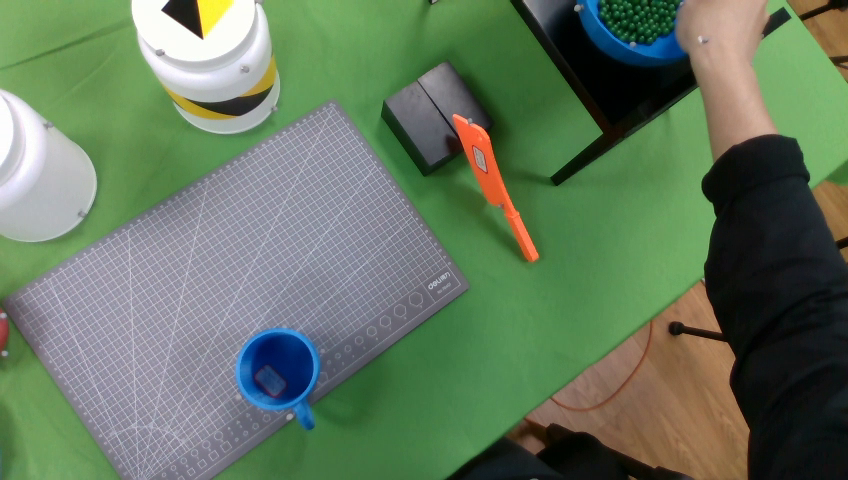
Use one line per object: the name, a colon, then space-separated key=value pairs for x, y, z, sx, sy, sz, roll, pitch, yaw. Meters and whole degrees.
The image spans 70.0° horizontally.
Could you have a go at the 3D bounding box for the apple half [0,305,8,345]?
apple half: x=-0.478 y=0.100 z=0.640 sx=0.053 sy=0.074 sz=0.080 roll=42 pitch=74 yaw=-5

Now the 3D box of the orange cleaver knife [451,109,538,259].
orange cleaver knife: x=0.087 y=-0.067 z=0.750 sx=0.012 sy=0.076 sz=0.213 roll=-36 pitch=119 yaw=-13

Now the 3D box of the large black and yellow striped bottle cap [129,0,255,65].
large black and yellow striped bottle cap: x=-0.224 y=-0.227 z=0.589 sx=0.115 sy=0.019 sz=0.114 roll=2 pitch=81 yaw=-10

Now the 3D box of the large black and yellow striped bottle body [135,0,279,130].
large black and yellow striped bottle body: x=-0.235 y=-0.212 z=0.671 sx=0.131 sy=0.184 sz=0.130 roll=1 pitch=80 yaw=-8

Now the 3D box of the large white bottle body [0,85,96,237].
large white bottle body: x=-0.435 y=-0.081 z=0.618 sx=0.131 sy=0.185 sz=0.130 roll=2 pitch=80 yaw=-8

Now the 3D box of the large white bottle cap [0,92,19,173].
large white bottle cap: x=-0.424 y=-0.096 z=0.535 sx=0.115 sy=0.018 sz=0.114 roll=1 pitch=81 yaw=-8

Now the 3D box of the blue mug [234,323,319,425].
blue mug: x=-0.151 y=0.149 z=0.665 sx=0.082 sy=0.106 sz=0.116 roll=-27 pitch=86 yaw=-12

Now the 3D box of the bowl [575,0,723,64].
bowl: x=0.215 y=-0.242 z=0.620 sx=0.152 sy=0.077 sz=0.151 roll=2 pitch=81 yaw=-9
